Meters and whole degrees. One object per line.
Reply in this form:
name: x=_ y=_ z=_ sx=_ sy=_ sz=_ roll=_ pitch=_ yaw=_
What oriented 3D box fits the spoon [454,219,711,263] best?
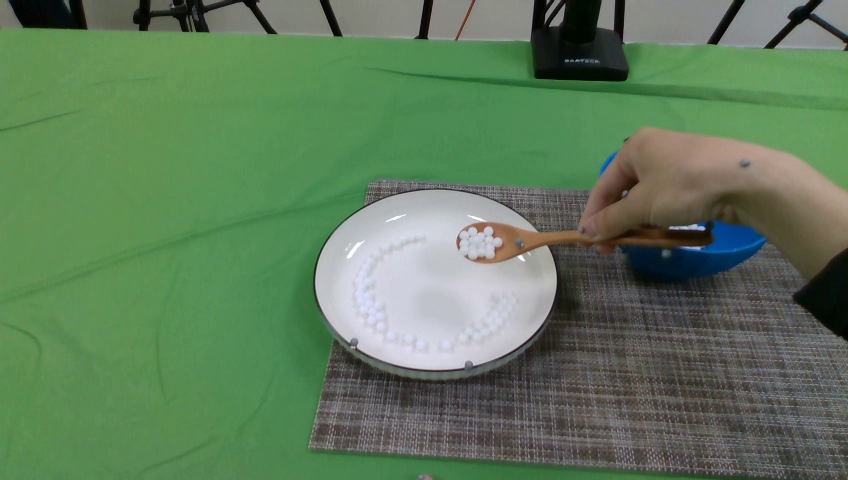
spoon: x=0.108 y=-0.001 z=0.450 sx=0.192 sy=0.022 sz=0.041 roll=-2 pitch=53 yaw=37

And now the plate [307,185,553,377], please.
plate: x=0.005 y=0.033 z=0.526 sx=0.208 sy=0.039 sz=0.205 roll=0 pitch=46 yaw=0

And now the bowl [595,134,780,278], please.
bowl: x=0.224 y=-0.019 z=0.545 sx=0.151 sy=0.077 sz=0.150 roll=0 pitch=46 yaw=0
